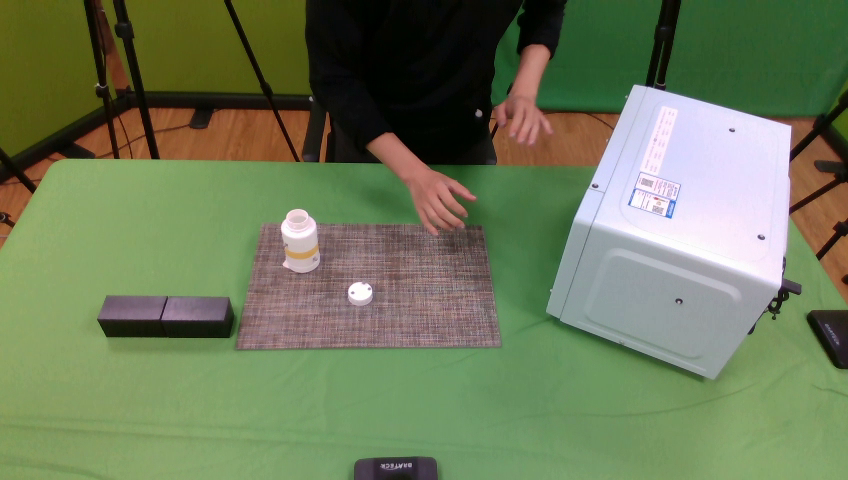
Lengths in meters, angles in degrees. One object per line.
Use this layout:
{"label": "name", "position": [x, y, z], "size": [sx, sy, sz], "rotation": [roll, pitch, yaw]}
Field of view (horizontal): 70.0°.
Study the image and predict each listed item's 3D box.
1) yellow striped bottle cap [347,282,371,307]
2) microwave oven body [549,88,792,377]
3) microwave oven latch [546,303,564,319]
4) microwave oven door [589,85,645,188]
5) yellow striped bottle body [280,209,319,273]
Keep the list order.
{"label": "yellow striped bottle cap", "position": [-0.117, 0.098, 1.093], "size": [0.044, 0.019, 0.044], "rotation": [3, 45, -3]}
{"label": "microwave oven body", "position": [0.456, -0.028, 1.088], "size": [0.325, 0.261, 0.440], "rotation": [20, 47, 16]}
{"label": "microwave oven latch", "position": [0.242, 0.102, 1.081], "size": [0.030, 0.029, 0.079], "rotation": [21, 48, 17]}
{"label": "microwave oven door", "position": [0.342, -0.107, 1.149], "size": [0.039, 0.245, 0.354], "rotation": [20, 48, 15]}
{"label": "yellow striped bottle body", "position": [-0.227, -0.001, 1.106], "size": [0.063, 0.121, 0.062], "rotation": [2, 46, -2]}
